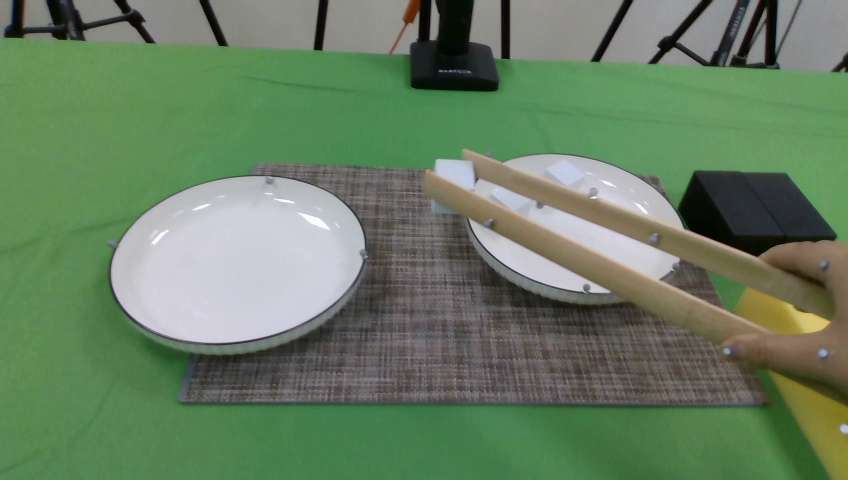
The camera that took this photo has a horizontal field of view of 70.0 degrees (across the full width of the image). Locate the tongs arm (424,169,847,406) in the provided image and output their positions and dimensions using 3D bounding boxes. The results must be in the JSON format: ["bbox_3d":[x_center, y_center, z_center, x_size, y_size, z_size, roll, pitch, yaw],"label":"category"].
[{"bbox_3d":[0.150,0.030,0.381,0.384,0.028,0.028,28,44,30],"label":"tongs arm"}]

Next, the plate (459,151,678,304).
[{"bbox_3d":[0.136,-0.012,0.586,0.208,0.039,0.205,3,43,-3],"label":"plate"}]

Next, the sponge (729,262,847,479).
[{"bbox_3d":[0.344,0.109,0.464,0.118,0.061,0.204,-2,44,-7],"label":"sponge"}]

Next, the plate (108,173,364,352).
[{"bbox_3d":[-0.155,0.017,0.524,0.209,0.038,0.207,3,42,-3],"label":"plate"}]

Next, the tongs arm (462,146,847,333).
[{"bbox_3d":[0.170,0.016,0.398,0.381,0.027,0.050,25,46,28],"label":"tongs arm"}]
